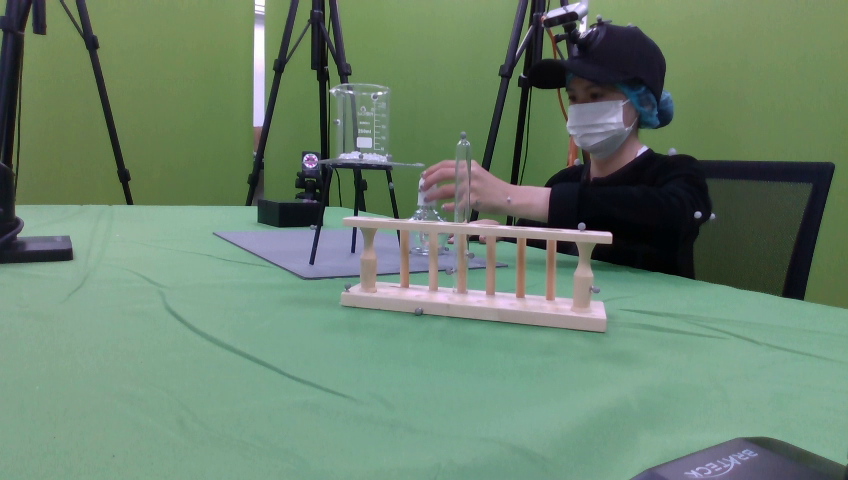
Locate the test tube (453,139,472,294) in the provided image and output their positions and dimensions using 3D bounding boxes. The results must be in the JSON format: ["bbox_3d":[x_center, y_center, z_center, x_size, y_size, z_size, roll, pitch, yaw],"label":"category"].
[{"bbox_3d":[0.037,-0.021,0.584,0.017,0.150,0.017,1,7,0],"label":"test tube"}]

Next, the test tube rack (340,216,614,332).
[{"bbox_3d":[0.048,0.026,0.568,0.242,0.085,0.067,4,7,13],"label":"test tube rack"}]

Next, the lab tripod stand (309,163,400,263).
[{"bbox_3d":[-0.091,-0.037,0.813,0.148,0.131,0.148,1,6,0],"label":"lab tripod stand"}]

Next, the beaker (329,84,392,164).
[{"bbox_3d":[-0.084,-0.149,0.794,0.084,0.100,0.073,-1,6,-23],"label":"beaker"}]

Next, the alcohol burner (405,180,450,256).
[{"bbox_3d":[0.004,-0.036,0.917,0.078,0.119,0.078,3,6,0],"label":"alcohol burner"}]

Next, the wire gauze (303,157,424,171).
[{"bbox_3d":[-0.082,-0.101,0.799,0.126,0.011,0.121,1,7,-30],"label":"wire gauze"}]

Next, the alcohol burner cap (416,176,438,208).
[{"bbox_3d":[0.005,-0.073,0.914,0.034,0.048,0.034,1,6,0],"label":"alcohol burner cap"}]
